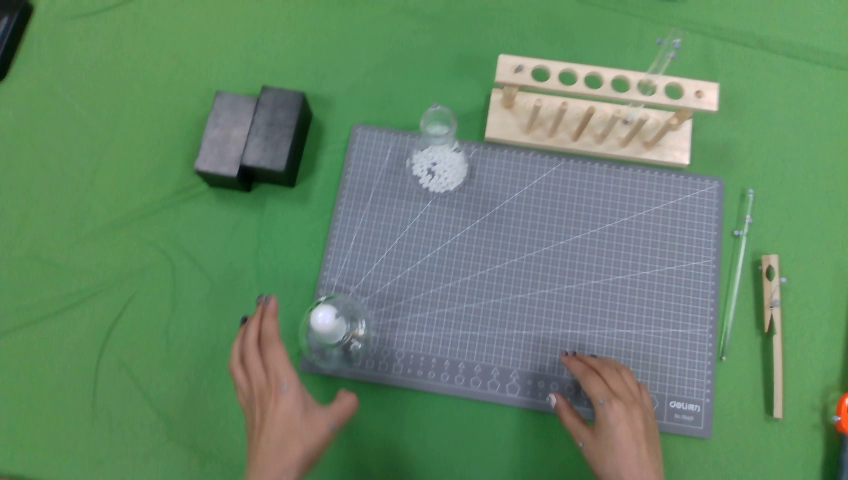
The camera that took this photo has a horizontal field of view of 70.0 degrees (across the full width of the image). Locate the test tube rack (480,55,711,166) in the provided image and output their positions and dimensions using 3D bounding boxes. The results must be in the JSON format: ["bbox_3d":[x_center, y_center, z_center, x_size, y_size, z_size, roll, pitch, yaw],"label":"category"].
[{"bbox_3d":[0.191,-0.148,0.703,0.242,0.085,0.066,8,75,3],"label":"test tube rack"}]

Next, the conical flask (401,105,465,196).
[{"bbox_3d":[0.010,-0.102,0.669,0.075,0.122,0.075,0,75,1],"label":"conical flask"}]

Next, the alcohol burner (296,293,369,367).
[{"bbox_3d":[-0.097,0.090,0.622,0.078,0.120,0.077,-1,73,2],"label":"alcohol burner"}]

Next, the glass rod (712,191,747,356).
[{"bbox_3d":[0.350,0.036,0.692,0.008,0.008,0.199,15,78,4],"label":"glass rod"}]

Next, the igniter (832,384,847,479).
[{"bbox_3d":[0.469,0.159,0.648,0.057,0.025,0.275,19,76,-5],"label":"igniter"}]

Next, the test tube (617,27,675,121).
[{"bbox_3d":[0.237,-0.175,0.658,0.017,0.151,0.017,0,69,0],"label":"test tube"}]

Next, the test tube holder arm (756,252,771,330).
[{"bbox_3d":[0.383,0.057,0.682,0.010,0.015,0.087,-8,71,37],"label":"test tube holder arm"}]

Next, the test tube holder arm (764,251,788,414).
[{"bbox_3d":[0.386,0.100,0.667,0.013,0.015,0.177,-10,71,36],"label":"test tube holder arm"}]

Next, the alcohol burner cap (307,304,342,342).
[{"bbox_3d":[-0.098,0.078,0.588,0.034,0.048,0.033,1,66,-1],"label":"alcohol burner cap"}]
